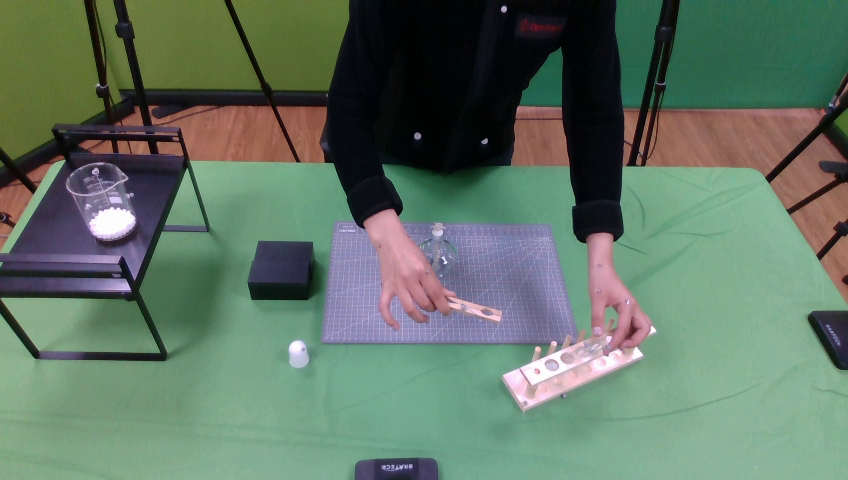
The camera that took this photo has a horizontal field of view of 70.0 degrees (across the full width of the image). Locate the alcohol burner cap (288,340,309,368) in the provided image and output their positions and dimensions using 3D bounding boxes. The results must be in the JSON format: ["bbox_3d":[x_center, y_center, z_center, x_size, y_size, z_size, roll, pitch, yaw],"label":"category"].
[{"bbox_3d":[-0.206,0.183,0.991,0.034,0.048,0.033,2,47,-2],"label":"alcohol burner cap"}]

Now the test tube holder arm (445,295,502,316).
[{"bbox_3d":[0.072,0.098,0.890,0.088,0.015,0.010,14,62,8],"label":"test tube holder arm"}]

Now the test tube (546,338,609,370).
[{"bbox_3d":[0.225,0.181,0.933,0.017,0.150,0.017,17,55,-26],"label":"test tube"}]

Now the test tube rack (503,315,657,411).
[{"bbox_3d":[0.253,0.186,0.988,0.242,0.085,0.066,-18,50,-20],"label":"test tube rack"}]

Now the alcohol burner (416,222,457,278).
[{"bbox_3d":[0.024,0.014,1.115,0.078,0.120,0.077,1,45,-1],"label":"alcohol burner"}]

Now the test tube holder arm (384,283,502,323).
[{"bbox_3d":[0.027,0.092,0.893,0.178,0.015,0.013,14,62,7],"label":"test tube holder arm"}]

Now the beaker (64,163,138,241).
[{"bbox_3d":[-0.477,-0.055,0.910,0.084,0.101,0.073,-9,48,-13],"label":"beaker"}]
